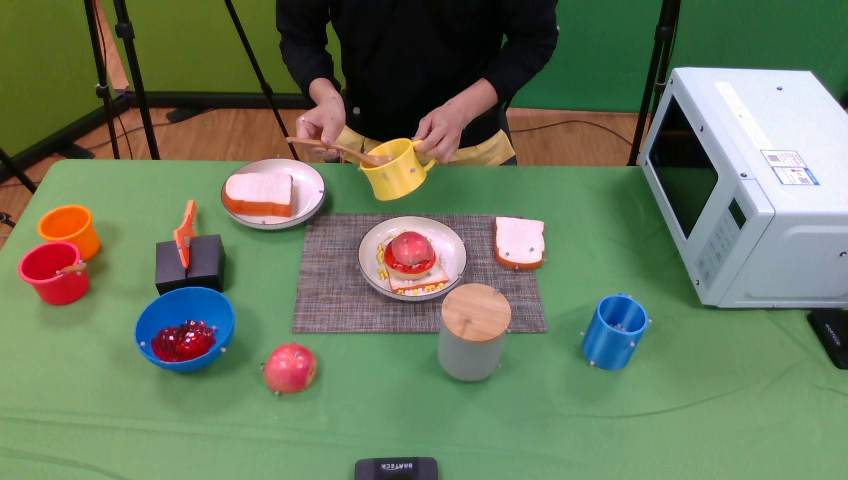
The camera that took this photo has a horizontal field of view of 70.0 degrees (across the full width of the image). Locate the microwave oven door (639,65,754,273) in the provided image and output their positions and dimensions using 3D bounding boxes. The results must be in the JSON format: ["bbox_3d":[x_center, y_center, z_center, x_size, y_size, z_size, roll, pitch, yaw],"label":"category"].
[{"bbox_3d":[0.522,-0.147,1.193,0.039,0.245,0.353,0,47,-3],"label":"microwave oven door"}]

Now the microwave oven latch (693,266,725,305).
[{"bbox_3d":[0.523,0.082,1.115,0.030,0.029,0.078,3,46,0],"label":"microwave oven latch"}]

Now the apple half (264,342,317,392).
[{"bbox_3d":[-0.214,0.198,0.970,0.074,0.053,0.080,19,48,10],"label":"apple half"}]

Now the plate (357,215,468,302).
[{"bbox_3d":[-0.022,0.037,1.141,0.208,0.039,0.206,2,46,-2],"label":"plate"}]

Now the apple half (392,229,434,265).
[{"bbox_3d":[-0.020,0.004,1.083,0.081,0.033,0.081,7,49,-7],"label":"apple half"}]

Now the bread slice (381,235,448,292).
[{"bbox_3d":[-0.027,0.039,1.141,0.107,0.018,0.133,-11,49,-15],"label":"bread slice"}]

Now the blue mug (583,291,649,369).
[{"bbox_3d":[0.324,0.142,1.023,0.082,0.106,0.116,15,47,11],"label":"blue mug"}]

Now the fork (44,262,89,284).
[{"bbox_3d":[-0.599,0.054,1.014,0.207,0.019,0.028,-14,29,45],"label":"fork"}]

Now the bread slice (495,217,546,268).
[{"bbox_3d":[0.194,0.002,1.205,0.105,0.019,0.131,5,44,3],"label":"bread slice"}]

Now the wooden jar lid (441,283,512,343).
[{"bbox_3d":[0.080,0.114,0.931,0.108,0.021,0.107,1,49,0],"label":"wooden jar lid"}]

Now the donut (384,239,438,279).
[{"bbox_3d":[-0.025,0.030,1.110,0.099,0.048,0.098,3,45,-3],"label":"donut"}]

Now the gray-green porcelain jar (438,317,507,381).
[{"bbox_3d":[0.076,0.158,0.977,0.106,0.127,0.105,2,47,-2],"label":"gray-green porcelain jar"}]

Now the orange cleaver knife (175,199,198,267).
[{"bbox_3d":[-0.438,-0.017,1.138,0.012,0.077,0.210,-14,27,-6],"label":"orange cleaver knife"}]

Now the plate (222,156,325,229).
[{"bbox_3d":[-0.308,-0.095,1.251,0.209,0.038,0.208,2,47,-2],"label":"plate"}]

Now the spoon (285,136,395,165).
[{"bbox_3d":[-0.137,-0.152,1.011,0.194,0.022,0.041,12,33,-30],"label":"spoon"}]

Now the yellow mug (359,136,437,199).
[{"bbox_3d":[-0.040,-0.133,1.044,0.131,0.064,0.099,-25,30,1],"label":"yellow mug"}]

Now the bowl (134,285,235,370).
[{"bbox_3d":[-0.377,0.155,0.981,0.151,0.077,0.150,2,46,-2],"label":"bowl"}]

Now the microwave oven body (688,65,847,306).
[{"bbox_3d":[0.669,-0.111,1.176,0.326,0.261,0.439,0,46,-3],"label":"microwave oven body"}]
